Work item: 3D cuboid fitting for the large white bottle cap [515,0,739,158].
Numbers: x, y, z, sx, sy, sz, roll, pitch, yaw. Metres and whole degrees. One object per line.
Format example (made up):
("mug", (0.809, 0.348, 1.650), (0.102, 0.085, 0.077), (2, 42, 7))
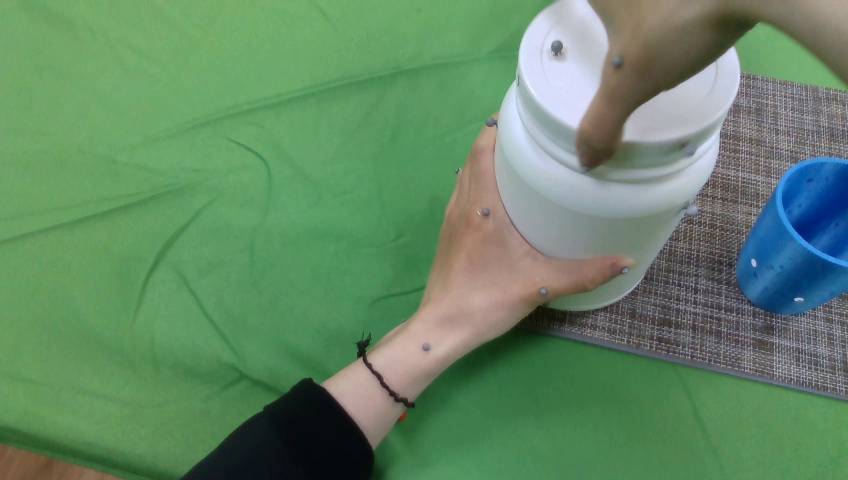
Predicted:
("large white bottle cap", (0.107, -0.095, 0.324), (0.115, 0.018, 0.114), (-1, 62, 2))

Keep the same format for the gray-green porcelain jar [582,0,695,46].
("gray-green porcelain jar", (0.207, -0.255, 0.560), (0.106, 0.127, 0.105), (0, 61, 1))

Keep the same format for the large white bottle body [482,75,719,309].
("large white bottle body", (0.110, -0.046, 0.406), (0.130, 0.186, 0.129), (0, 60, 1))

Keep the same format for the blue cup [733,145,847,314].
("blue cup", (0.266, 0.005, 0.424), (0.092, 0.101, 0.092), (-1, 59, 1))
